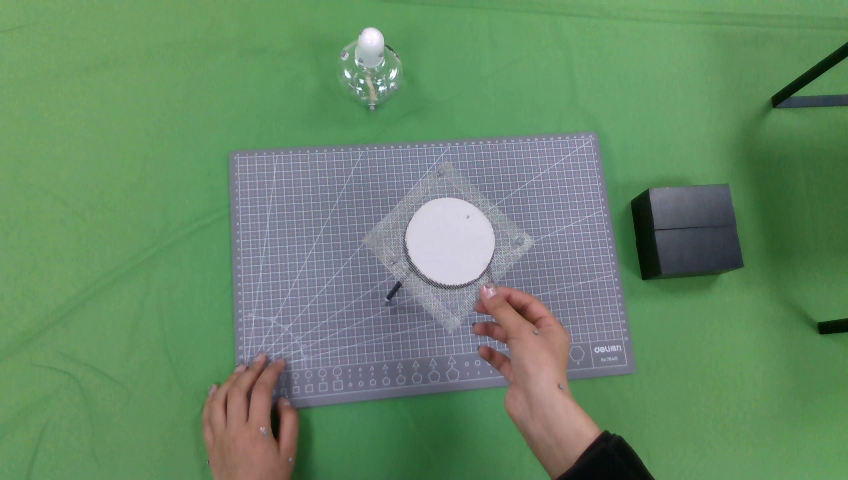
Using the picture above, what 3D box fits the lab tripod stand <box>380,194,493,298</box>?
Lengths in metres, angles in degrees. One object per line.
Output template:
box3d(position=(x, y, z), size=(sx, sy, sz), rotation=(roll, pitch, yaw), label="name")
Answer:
box3d(position=(0.020, 0.013, 0.642), size=(0.149, 0.132, 0.147), rotation=(2, 77, -8), label="lab tripod stand")

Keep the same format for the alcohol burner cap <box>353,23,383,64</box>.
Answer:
box3d(position=(-0.060, -0.216, 0.660), size=(0.034, 0.048, 0.034), rotation=(1, 83, -9), label="alcohol burner cap")

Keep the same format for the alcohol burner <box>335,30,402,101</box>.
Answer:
box3d(position=(-0.063, -0.209, 0.694), size=(0.078, 0.119, 0.077), rotation=(2, 78, -7), label="alcohol burner")

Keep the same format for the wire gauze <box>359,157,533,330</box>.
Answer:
box3d(position=(0.022, -0.001, 0.577), size=(0.125, 0.011, 0.121), rotation=(45, 77, 4), label="wire gauze")
